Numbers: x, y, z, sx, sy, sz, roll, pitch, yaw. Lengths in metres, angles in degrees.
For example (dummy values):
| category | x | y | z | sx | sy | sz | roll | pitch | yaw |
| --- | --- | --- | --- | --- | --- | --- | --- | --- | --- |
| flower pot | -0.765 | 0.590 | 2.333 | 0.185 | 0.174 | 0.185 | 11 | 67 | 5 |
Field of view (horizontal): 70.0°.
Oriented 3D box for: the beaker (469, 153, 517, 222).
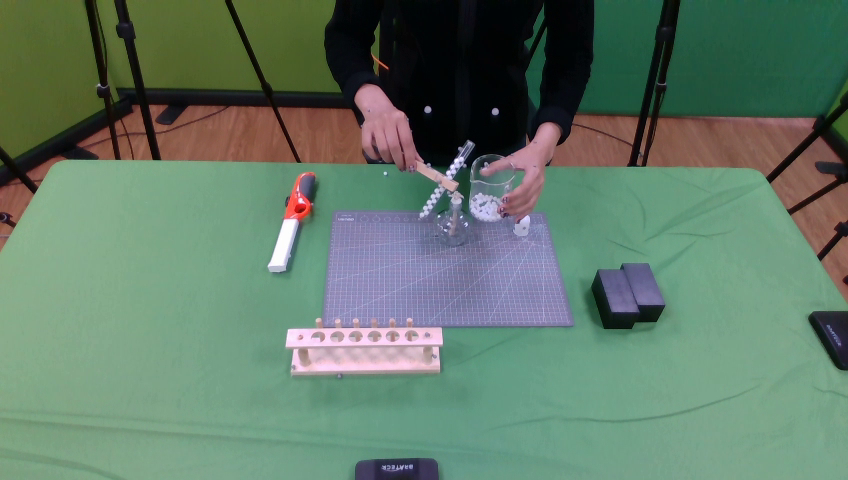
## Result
| category | x | y | z | sx | sy | sz | roll | pitch | yaw |
| --- | --- | --- | --- | --- | --- | --- | --- | --- | --- |
| beaker | 0.112 | -0.085 | 1.034 | 0.084 | 0.101 | 0.073 | -23 | 53 | -19 |

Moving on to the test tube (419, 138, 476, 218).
| category | x | y | z | sx | sy | sz | roll | pitch | yaw |
| --- | --- | --- | --- | --- | --- | --- | --- | --- | --- |
| test tube | 0.036 | -0.097 | 0.970 | 0.017 | 0.150 | 0.017 | 31 | 17 | -10 |

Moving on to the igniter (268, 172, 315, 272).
| category | x | y | z | sx | sy | sz | roll | pitch | yaw |
| --- | --- | --- | --- | --- | --- | --- | --- | --- | --- |
| igniter | -0.264 | -0.045 | 1.219 | 0.057 | 0.025 | 0.275 | -2 | 45 | 8 |

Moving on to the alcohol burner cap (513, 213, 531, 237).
| category | x | y | z | sx | sy | sz | roll | pitch | yaw |
| --- | --- | --- | --- | --- | --- | --- | --- | --- | --- |
| alcohol burner cap | 0.200 | -0.034 | 1.227 | 0.034 | 0.048 | 0.033 | 2 | 46 | -2 |

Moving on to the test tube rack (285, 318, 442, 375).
| category | x | y | z | sx | sy | sz | roll | pitch | yaw |
| --- | --- | --- | --- | --- | --- | --- | --- | --- | --- |
| test tube rack | -0.095 | 0.168 | 0.986 | 0.242 | 0.085 | 0.066 | 0 | 46 | -4 |

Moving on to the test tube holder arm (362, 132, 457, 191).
| category | x | y | z | sx | sy | sz | roll | pitch | yaw |
| --- | --- | --- | --- | --- | --- | --- | --- | --- | --- |
| test tube holder arm | -0.024 | -0.129 | 0.980 | 0.178 | 0.015 | 0.013 | 31 | 15 | 11 |

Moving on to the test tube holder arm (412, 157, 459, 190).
| category | x | y | z | sx | sy | sz | roll | pitch | yaw |
| --- | --- | --- | --- | --- | --- | --- | --- | --- | --- |
| test tube holder arm | 0.016 | -0.108 | 0.979 | 0.088 | 0.015 | 0.010 | 29 | 15 | 3 |

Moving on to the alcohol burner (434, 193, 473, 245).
| category | x | y | z | sx | sy | sz | roll | pitch | yaw |
| --- | --- | --- | --- | --- | --- | --- | --- | --- | --- |
| alcohol burner | 0.059 | -0.046 | 1.180 | 0.078 | 0.120 | 0.077 | 1 | 48 | -1 |
